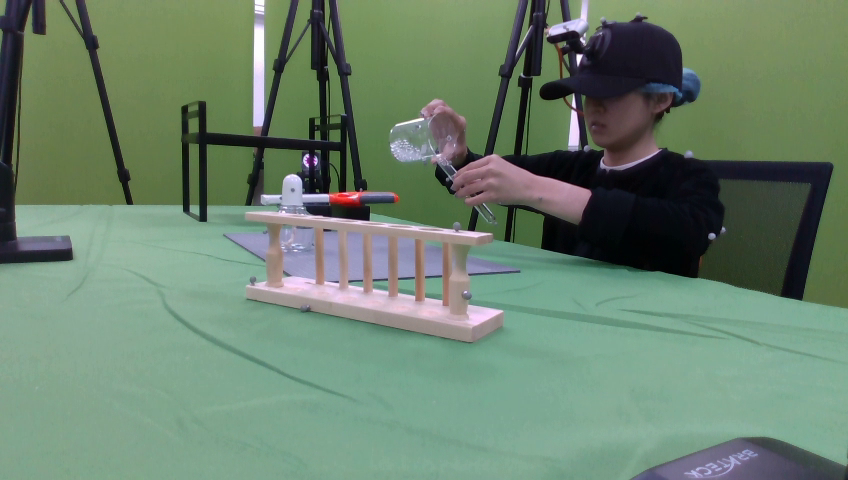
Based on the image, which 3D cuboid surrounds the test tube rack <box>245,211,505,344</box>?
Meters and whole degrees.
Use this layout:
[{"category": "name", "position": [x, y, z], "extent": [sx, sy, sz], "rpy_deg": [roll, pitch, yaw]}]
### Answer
[{"category": "test tube rack", "position": [-0.049, 0.025, 0.547], "extent": [0.241, 0.085, 0.067], "rpy_deg": [7, 8, 29]}]

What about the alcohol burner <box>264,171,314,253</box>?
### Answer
[{"category": "alcohol burner", "position": [-0.194, -0.042, 0.888], "extent": [0.078, 0.119, 0.078], "rpy_deg": [3, 5, 0]}]

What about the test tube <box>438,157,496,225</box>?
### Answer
[{"category": "test tube", "position": [0.068, -0.079, 0.964], "extent": [0.017, 0.017, 0.149], "rpy_deg": [-5, 49, -46]}]

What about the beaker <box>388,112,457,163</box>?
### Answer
[{"category": "beaker", "position": [-0.005, -0.168, 1.029], "extent": [0.100, 0.084, 0.074], "rpy_deg": [-2, -6, 42]}]

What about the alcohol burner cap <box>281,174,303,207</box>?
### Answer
[{"category": "alcohol burner cap", "position": [-0.194, -0.072, 0.884], "extent": [0.034, 0.048, 0.034], "rpy_deg": [0, 5, 0]}]

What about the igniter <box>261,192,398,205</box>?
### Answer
[{"category": "igniter", "position": [-0.185, -0.083, 1.217], "extent": [0.278, 0.025, 0.057], "rpy_deg": [-2, 12, -25]}]
